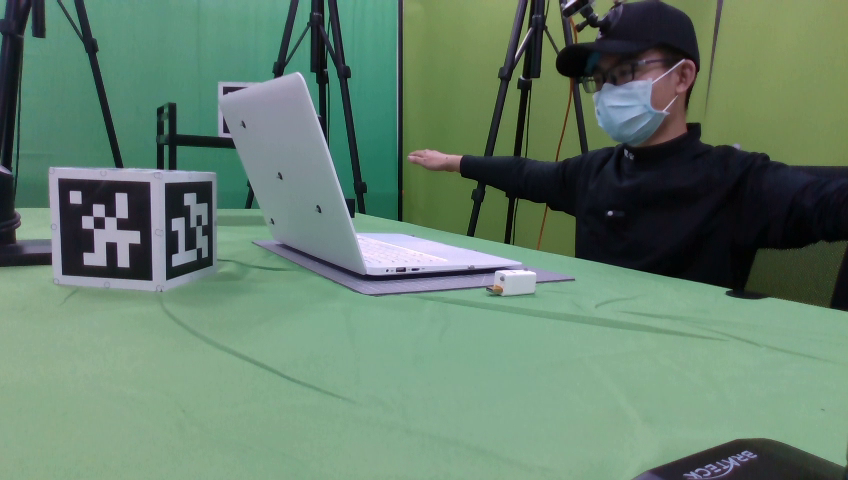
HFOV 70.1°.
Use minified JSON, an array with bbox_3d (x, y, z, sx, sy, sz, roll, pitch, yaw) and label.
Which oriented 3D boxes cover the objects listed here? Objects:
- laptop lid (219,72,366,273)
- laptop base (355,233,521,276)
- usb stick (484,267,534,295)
[{"bbox_3d":[-0.189,-0.087,0.800,0.013,0.242,0.355,-26,21,-26],"label":"laptop lid"},{"bbox_3d":[-0.056,0.017,0.898,0.237,0.023,0.352,2,6,-32],"label":"laptop base"},{"bbox_3d":[0.093,0.046,0.673,0.059,0.027,0.021,-5,14,-30],"label":"usb stick"}]
